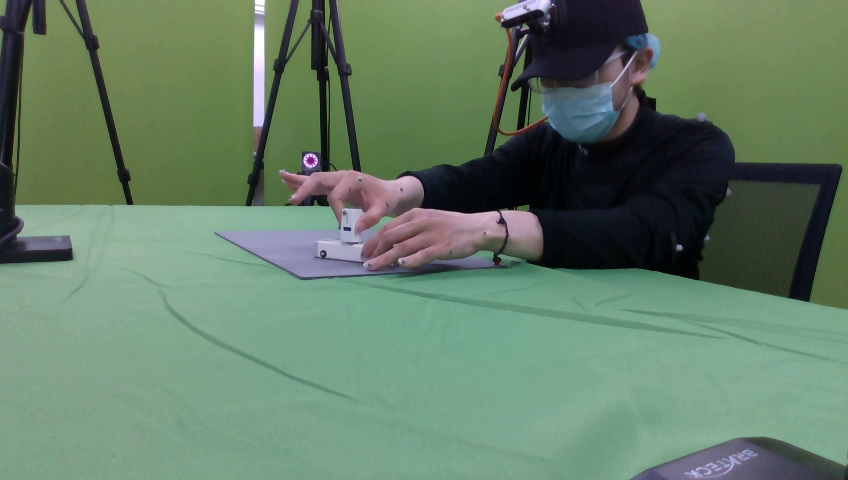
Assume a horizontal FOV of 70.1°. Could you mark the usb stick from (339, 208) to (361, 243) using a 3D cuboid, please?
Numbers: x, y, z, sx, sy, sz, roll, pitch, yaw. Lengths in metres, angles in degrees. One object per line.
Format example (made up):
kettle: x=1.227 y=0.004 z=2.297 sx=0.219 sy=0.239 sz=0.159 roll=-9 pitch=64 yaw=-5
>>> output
usb stick: x=-0.100 y=-0.013 z=0.814 sx=0.021 sy=0.059 sz=0.027 roll=7 pitch=10 yaw=20

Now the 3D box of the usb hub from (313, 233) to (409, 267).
usb hub: x=-0.087 y=0.013 z=0.828 sx=0.125 sy=0.025 sz=0.049 roll=7 pitch=15 yaw=21
